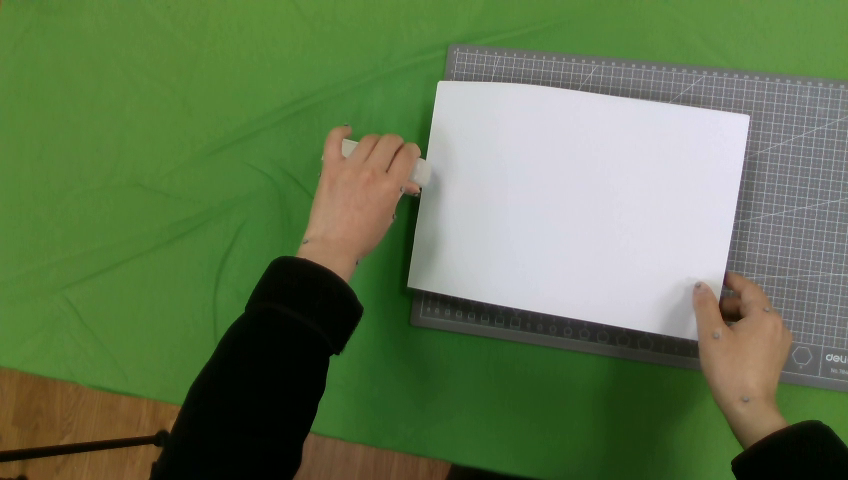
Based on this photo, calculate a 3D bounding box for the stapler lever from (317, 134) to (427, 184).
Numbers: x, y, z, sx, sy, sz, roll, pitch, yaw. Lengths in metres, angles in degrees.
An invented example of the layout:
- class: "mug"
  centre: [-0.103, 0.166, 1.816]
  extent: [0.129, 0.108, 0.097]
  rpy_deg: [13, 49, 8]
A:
- class: "stapler lever"
  centre: [-0.054, -0.082, 0.605]
  extent: [0.117, 0.040, 0.027]
  rpy_deg: [16, 84, 12]

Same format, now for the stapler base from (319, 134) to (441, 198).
- class: "stapler base"
  centre: [-0.048, -0.079, 0.631]
  extent: [0.130, 0.024, 0.041]
  rpy_deg: [16, 85, 10]
